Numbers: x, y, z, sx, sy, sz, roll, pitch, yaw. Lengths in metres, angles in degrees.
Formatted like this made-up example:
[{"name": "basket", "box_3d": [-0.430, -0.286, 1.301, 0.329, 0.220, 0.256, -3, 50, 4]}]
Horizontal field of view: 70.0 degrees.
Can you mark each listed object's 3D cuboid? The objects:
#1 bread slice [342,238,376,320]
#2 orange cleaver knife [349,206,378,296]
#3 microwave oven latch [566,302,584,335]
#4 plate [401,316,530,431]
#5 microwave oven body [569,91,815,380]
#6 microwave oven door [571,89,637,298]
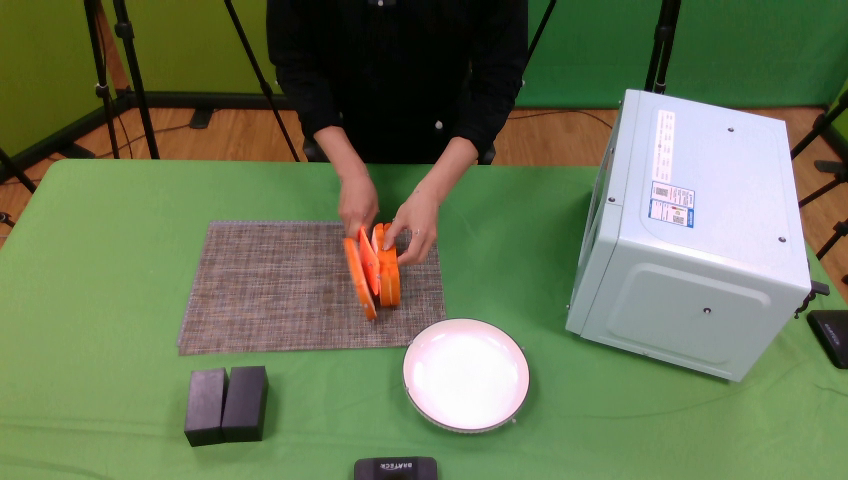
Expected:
[{"name": "bread slice", "box_3d": [-0.111, 0.072, 1.055, 0.018, 0.107, 0.133, -18, 48, -3]}, {"name": "orange cleaver knife", "box_3d": [-0.111, 0.015, 1.099, 0.012, 0.077, 0.210, -3, 37, -20]}, {"name": "microwave oven latch", "box_3d": [0.268, 0.126, 1.059, 0.030, 0.029, 0.079, 16, 46, 12]}, {"name": "plate", "box_3d": [0.066, 0.217, 0.982, 0.208, 0.039, 0.206, 2, 46, -2]}, {"name": "microwave oven body", "box_3d": [0.468, -0.022, 1.082, 0.325, 0.261, 0.440, 15, 46, 11]}, {"name": "microwave oven door", "box_3d": [0.343, -0.091, 1.133, 0.039, 0.245, 0.354, 15, 47, 10]}]
